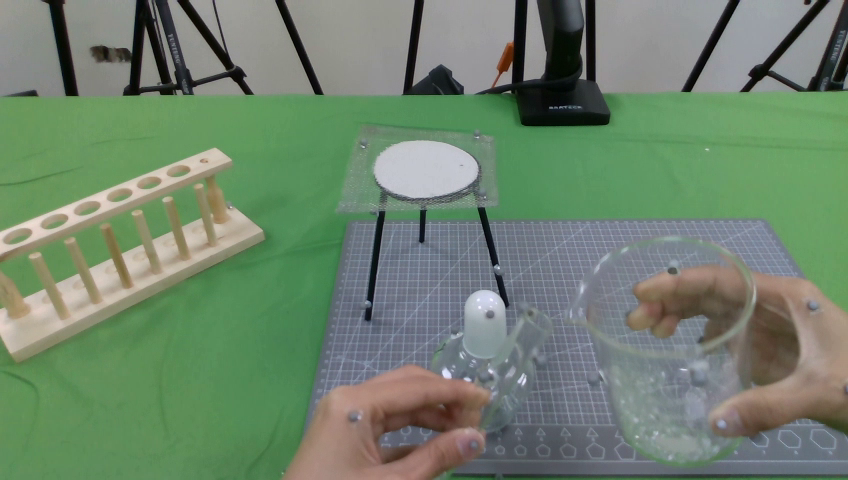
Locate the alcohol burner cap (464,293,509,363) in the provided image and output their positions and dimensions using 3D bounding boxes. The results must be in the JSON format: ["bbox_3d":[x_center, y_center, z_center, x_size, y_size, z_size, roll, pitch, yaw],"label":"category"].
[{"bbox_3d":[0.043,0.057,0.413,0.034,0.048,0.033,-3,38,3],"label":"alcohol burner cap"}]

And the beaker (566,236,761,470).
[{"bbox_3d":[0.121,0.060,0.301,0.084,0.101,0.073,-13,38,15],"label":"beaker"}]

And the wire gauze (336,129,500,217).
[{"bbox_3d":[-0.001,-0.057,0.491,0.121,0.011,0.124,2,39,3],"label":"wire gauze"}]

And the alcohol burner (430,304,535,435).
[{"bbox_3d":[0.042,0.085,0.435,0.078,0.120,0.077,0,40,1],"label":"alcohol burner"}]

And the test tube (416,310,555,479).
[{"bbox_3d":[0.024,0.096,0.313,0.017,0.151,0.017,21,28,-11],"label":"test tube"}]

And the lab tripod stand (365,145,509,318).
[{"bbox_3d":[0.009,-0.006,0.535,0.148,0.132,0.147,1,38,0],"label":"lab tripod stand"}]

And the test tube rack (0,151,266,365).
[{"bbox_3d":[-0.278,0.007,0.569,0.242,0.086,0.066,-30,47,-32],"label":"test tube rack"}]
